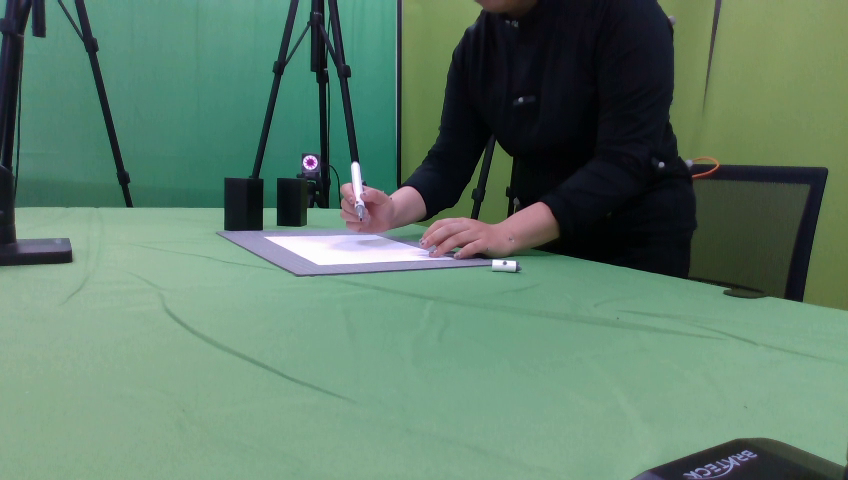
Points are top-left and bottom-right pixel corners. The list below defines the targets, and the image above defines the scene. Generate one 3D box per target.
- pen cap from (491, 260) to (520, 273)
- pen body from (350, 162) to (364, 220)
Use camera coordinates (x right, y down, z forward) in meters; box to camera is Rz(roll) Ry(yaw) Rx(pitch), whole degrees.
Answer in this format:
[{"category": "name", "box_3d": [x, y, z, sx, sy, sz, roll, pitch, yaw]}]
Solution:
[{"category": "pen cap", "box_3d": [0.110, 0.036, 0.813, 0.038, 0.017, 0.017, 3, 7, 7]}, {"category": "pen body", "box_3d": [-0.110, -0.081, 1.002, 0.017, 0.017, 0.143, 1, 43, -12]}]
